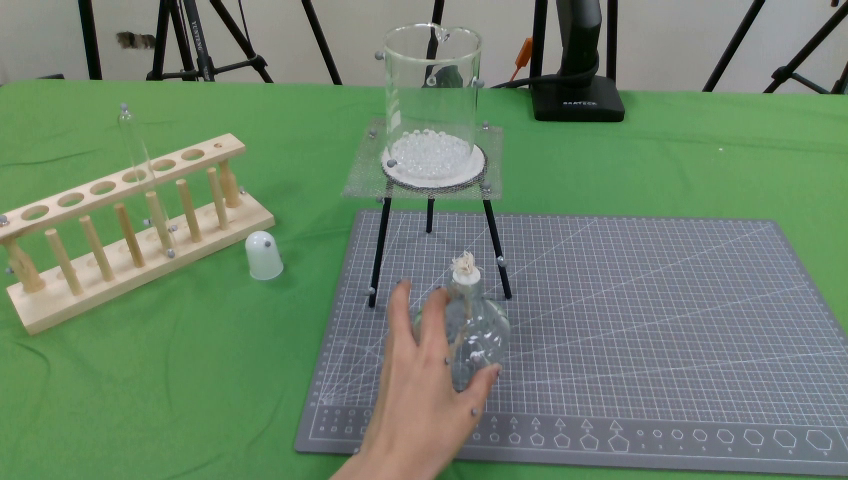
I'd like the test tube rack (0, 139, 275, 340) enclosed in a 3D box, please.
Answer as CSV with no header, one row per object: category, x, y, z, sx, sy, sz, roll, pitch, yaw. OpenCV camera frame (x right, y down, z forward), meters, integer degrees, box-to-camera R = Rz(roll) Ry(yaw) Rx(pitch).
test tube rack,-0.273,-0.009,0.583,0.242,0.086,0.066,-28,46,-30

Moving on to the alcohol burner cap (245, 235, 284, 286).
alcohol burner cap,-0.155,0.017,0.584,0.034,0.048,0.033,0,40,0

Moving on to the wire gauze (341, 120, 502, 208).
wire gauze,0.003,-0.064,0.498,0.121,0.011,0.124,4,41,5

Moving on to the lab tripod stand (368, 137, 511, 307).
lab tripod stand,0.013,-0.013,0.541,0.148,0.132,0.147,1,38,0

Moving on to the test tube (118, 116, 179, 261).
test tube,-0.249,-0.043,0.553,0.017,0.151,0.017,0,38,0

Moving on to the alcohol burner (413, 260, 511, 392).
alcohol burner,0.030,0.061,0.464,0.078,0.120,0.077,0,40,0

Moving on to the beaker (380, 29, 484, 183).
beaker,0.006,-0.103,0.469,0.074,0.101,0.083,9,39,9
